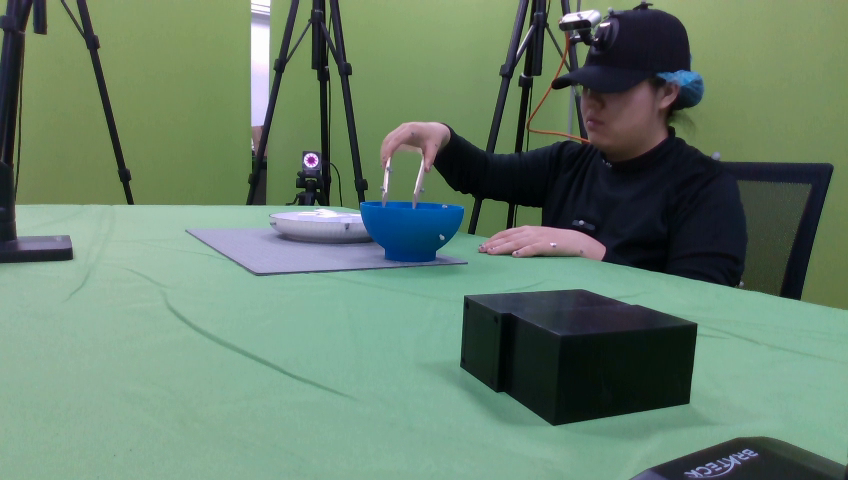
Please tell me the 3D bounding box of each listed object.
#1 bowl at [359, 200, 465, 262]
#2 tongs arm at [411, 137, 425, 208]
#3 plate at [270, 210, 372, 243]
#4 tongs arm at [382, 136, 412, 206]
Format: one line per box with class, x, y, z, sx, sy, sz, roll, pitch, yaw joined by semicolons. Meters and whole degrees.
bowl;-0.018;-0.013;0.859;0.151;0.077;0.151;2;7;0
tongs arm;-0.014;-0.123;1.030;0.028;0.028;0.387;2;21;0
plate;-0.161;-0.023;1.054;0.208;0.039;0.207;2;7;0
tongs arm;-0.041;-0.126;1.030;0.051;0.026;0.384;4;21;-4
